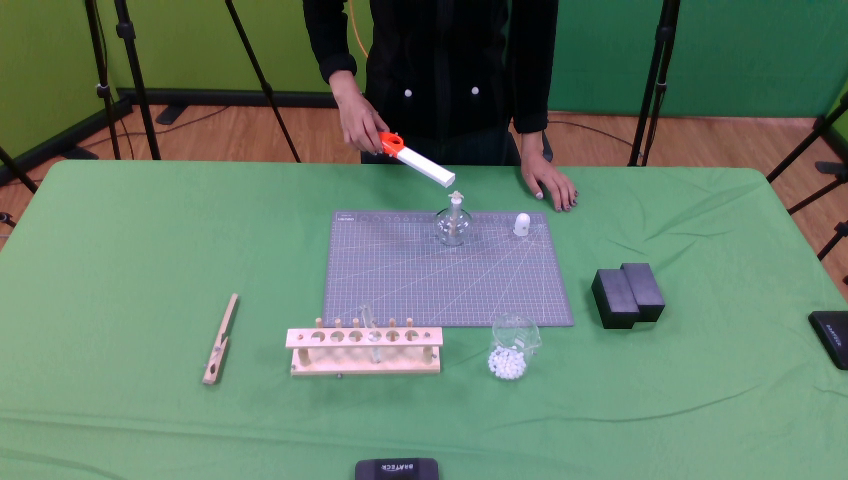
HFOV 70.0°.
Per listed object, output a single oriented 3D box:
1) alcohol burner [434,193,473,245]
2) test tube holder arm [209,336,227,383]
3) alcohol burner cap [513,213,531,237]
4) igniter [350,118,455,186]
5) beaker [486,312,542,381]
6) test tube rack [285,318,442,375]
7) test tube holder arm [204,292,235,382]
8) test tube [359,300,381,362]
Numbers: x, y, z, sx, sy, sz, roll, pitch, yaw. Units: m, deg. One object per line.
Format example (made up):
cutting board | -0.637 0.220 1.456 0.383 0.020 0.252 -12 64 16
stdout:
alcohol burner | 0.059 -0.047 1.180 0.078 0.120 0.077 1 48 -1
test tube holder arm | -0.338 0.193 0.991 0.010 0.015 0.087 29 38 -26
alcohol burner cap | 0.200 -0.034 1.227 0.034 0.048 0.033 2 46 -2
igniter | -0.051 -0.180 1.211 0.275 0.025 0.057 33 58 27
beaker | 0.144 0.177 0.985 0.084 0.101 0.074 22 49 16
test tube rack | -0.095 0.167 0.986 0.242 0.085 0.066 0 46 -4
test tube holder arm | -0.343 0.159 1.020 0.013 0.015 0.177 27 39 -27
test tube | -0.083 0.144 0.940 0.017 0.151 0.017 -3 46 3
